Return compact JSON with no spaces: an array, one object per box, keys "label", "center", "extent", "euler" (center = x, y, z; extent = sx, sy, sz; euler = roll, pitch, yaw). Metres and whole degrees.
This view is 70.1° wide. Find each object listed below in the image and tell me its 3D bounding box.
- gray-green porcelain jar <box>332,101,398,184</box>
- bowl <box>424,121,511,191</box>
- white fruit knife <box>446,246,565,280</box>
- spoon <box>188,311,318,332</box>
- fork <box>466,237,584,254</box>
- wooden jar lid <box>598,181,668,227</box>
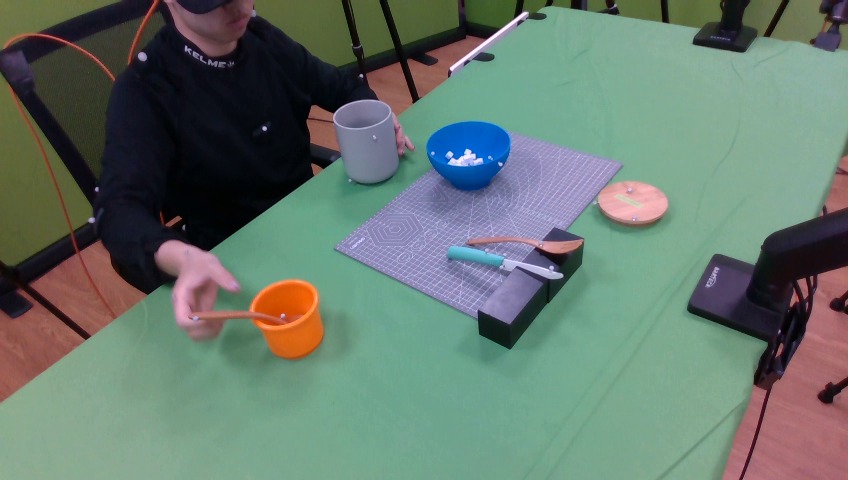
[{"label":"gray-green porcelain jar","center":[-0.105,-0.175,1.108],"extent":[0.106,0.127,0.105],"euler":[-4,40,4]},{"label":"bowl","center":[0.080,-0.140,1.074],"extent":[0.151,0.077,0.150],"euler":[-4,40,4]},{"label":"white fruit knife","center":[0.111,0.033,0.868],"extent":[0.205,0.027,0.016],"euler":[11,44,40]},{"label":"spoon","center":[-0.216,0.102,0.784],"extent":[0.041,0.195,0.021],"euler":[25,95,39]},{"label":"fork","center":[0.142,0.005,0.894],"extent":[0.205,0.019,0.028],"euler":[4,43,41]},{"label":"wooden jar lid","center":[0.340,-0.057,0.989],"extent":[0.108,0.021,0.108],"euler":[-5,41,5]}]
